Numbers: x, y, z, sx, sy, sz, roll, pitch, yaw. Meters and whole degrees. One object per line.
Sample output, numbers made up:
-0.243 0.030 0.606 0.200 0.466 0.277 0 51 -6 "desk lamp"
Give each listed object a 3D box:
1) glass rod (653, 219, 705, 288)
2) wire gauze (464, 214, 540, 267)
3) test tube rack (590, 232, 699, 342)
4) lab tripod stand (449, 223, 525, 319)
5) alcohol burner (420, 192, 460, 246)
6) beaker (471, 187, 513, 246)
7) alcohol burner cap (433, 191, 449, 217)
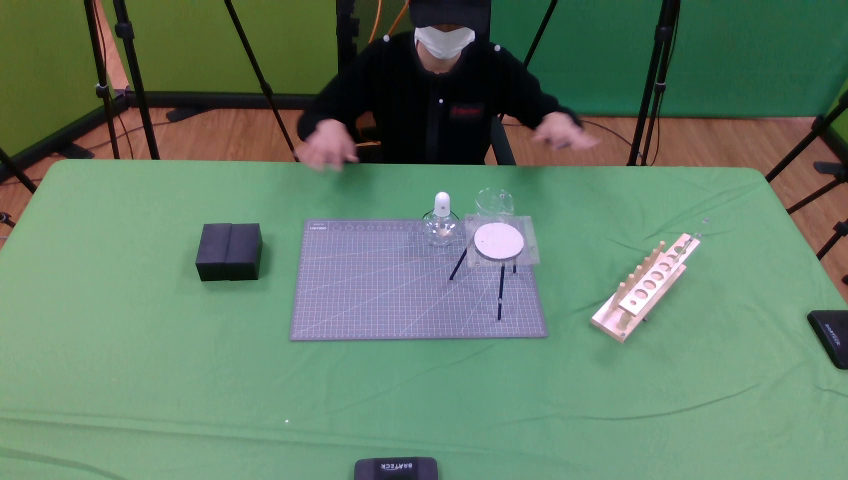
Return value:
0.444 0.032 1.063 0.008 0.200 0.008 5 49 -6 "glass rod"
0.131 -0.002 1.034 0.121 0.011 0.124 1 45 -2 "wire gauze"
0.407 0.074 1.112 0.066 0.085 0.242 35 53 26 "test tube rack"
0.120 0.046 1.080 0.148 0.132 0.147 1 47 -1 "lab tripod stand"
0.032 -0.046 1.176 0.078 0.120 0.077 1 44 -1 "alcohol burner"
0.134 -0.042 1.190 0.083 0.101 0.074 34 53 25 "beaker"
0.033 -0.070 1.150 0.034 0.048 0.033 0 44 0 "alcohol burner cap"
